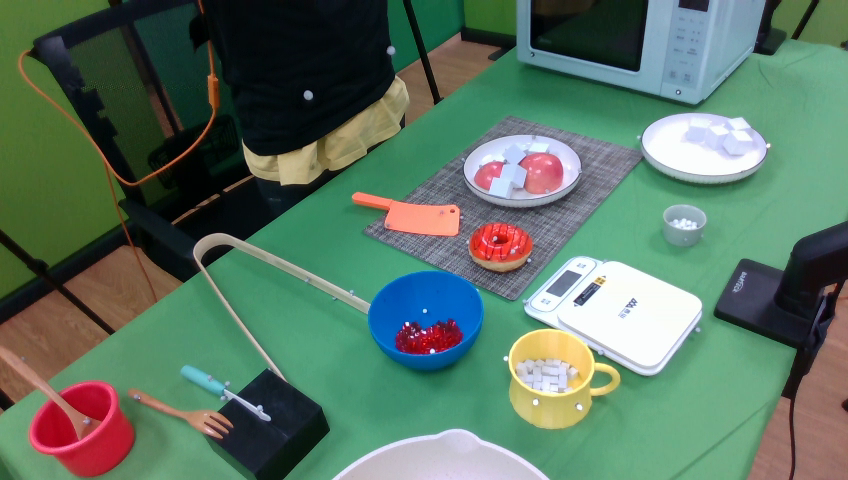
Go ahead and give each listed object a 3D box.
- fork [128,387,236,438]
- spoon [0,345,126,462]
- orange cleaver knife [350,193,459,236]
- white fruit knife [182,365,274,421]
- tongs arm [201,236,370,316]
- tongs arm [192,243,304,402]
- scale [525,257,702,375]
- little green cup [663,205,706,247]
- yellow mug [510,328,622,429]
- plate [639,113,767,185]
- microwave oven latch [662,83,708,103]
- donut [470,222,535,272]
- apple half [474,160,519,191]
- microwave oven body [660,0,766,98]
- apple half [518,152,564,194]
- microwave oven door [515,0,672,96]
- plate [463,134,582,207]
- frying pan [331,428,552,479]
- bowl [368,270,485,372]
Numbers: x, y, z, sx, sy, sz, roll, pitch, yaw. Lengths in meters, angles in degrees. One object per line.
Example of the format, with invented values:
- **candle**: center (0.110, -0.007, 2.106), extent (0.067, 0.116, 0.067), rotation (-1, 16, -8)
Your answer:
- **fork**: center (-0.305, 0.207, 0.744), extent (0.206, 0.019, 0.028), rotation (3, 41, 36)
- **spoon**: center (-0.434, 0.192, 0.720), extent (0.194, 0.021, 0.042), rotation (47, 54, -7)
- **orange cleaver knife**: center (-0.037, -0.044, 1.028), extent (0.210, 0.012, 0.077), rotation (10, 49, 17)
- **white fruit knife**: center (-0.245, 0.187, 0.747), extent (0.205, 0.027, 0.016), rotation (9, 42, 40)
- **tongs arm**: center (-0.209, 0.062, 0.924), extent (0.381, 0.026, 0.051), rotation (23, 52, 33)
- **tongs arm**: center (-0.267, 0.108, 0.883), extent (0.028, 0.028, 0.384), rotation (-35, 46, -19)
- **scale**: center (0.254, 0.091, 0.821), extent (0.199, 0.032, 0.149), rotation (28, 51, 35)
- **little green cup**: center (0.396, -0.020, 0.926), extent (0.061, 0.039, 0.061), rotation (-4, 40, 4)
- **yellow mug**: center (0.169, 0.164, 0.721), extent (0.130, 0.064, 0.099), rotation (0, 40, 8)
- **plate**: center (0.489, -0.157, 1.074), extent (0.207, 0.039, 0.206), rotation (-4, 40, 4)
- **microwave oven latch**: center (0.517, -0.296, 1.204), extent (0.078, 0.029, 0.030), rotation (28, 52, 35)
- **donut**: center (0.119, 0.009, 0.923), extent (0.099, 0.048, 0.098), rotation (-4, 38, 3)
- **apple half**: center (0.130, -0.120, 1.068), extent (0.081, 0.033, 0.081), rotation (-3, 36, 3)
- **microwave oven body**: center (0.472, -0.513, 1.317), extent (0.438, 0.261, 0.327), rotation (26, 51, 34)
- **apple half**: center (0.204, -0.124, 1.048), extent (0.075, 0.053, 0.080), rotation (-6, 41, -3)
- **microwave oven door**: center (0.343, -0.454, 1.259), extent (0.353, 0.245, 0.039), rotation (26, 51, 33)
- **plate**: center (0.173, -0.119, 1.070), extent (0.209, 0.038, 0.208), rotation (-4, 40, 4)
- **frying pan**: center (-0.089, 0.306, 0.564), extent (0.487, 0.103, 0.306), rotation (10, 41, 7)
- **bowl**: center (0.007, 0.118, 0.791), extent (0.151, 0.077, 0.150), rotation (-5, 40, 4)
